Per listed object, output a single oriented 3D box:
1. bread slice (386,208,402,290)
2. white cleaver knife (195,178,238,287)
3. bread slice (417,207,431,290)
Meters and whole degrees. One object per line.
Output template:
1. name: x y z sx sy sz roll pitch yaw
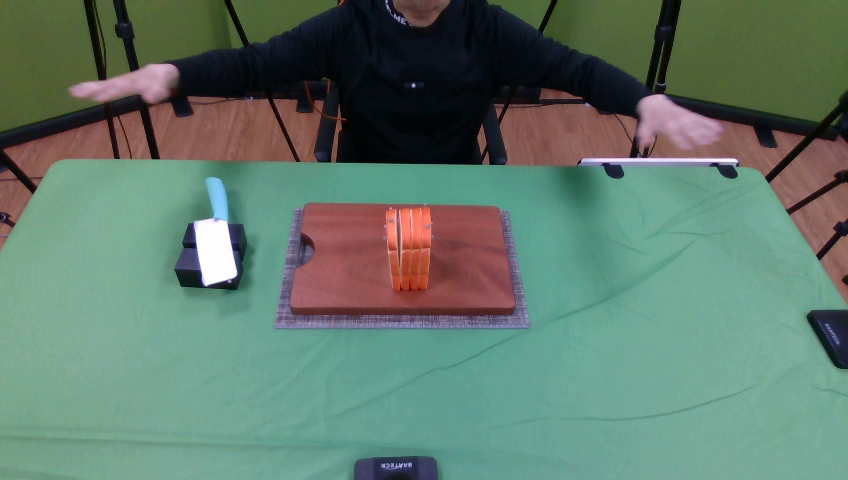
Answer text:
1. bread slice: -0.053 0.009 1.069 0.019 0.132 0.104 -5 45 0
2. white cleaver knife: -0.393 -0.024 1.132 0.066 0.021 0.284 -11 46 -14
3. bread slice: 0.000 0.009 1.071 0.018 0.135 0.106 0 49 -4
